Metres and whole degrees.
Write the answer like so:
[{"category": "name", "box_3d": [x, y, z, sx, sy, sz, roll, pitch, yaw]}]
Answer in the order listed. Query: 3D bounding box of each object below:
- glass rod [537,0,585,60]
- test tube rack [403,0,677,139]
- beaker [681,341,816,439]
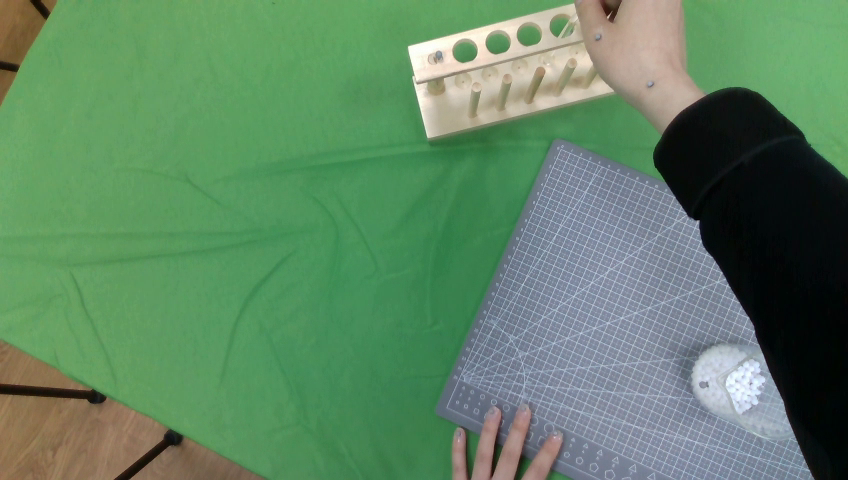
[{"category": "glass rod", "box_3d": [0.128, -0.197, 0.510, 0.008, 0.200, 0.008, 1, 82, -7]}, {"category": "test tube rack", "box_3d": [0.107, -0.166, 0.573, 0.242, 0.085, 0.066, -14, 85, 0]}, {"category": "beaker", "box_3d": [0.278, 0.127, 0.538, 0.084, 0.100, 0.074, 13, 85, 3]}]
